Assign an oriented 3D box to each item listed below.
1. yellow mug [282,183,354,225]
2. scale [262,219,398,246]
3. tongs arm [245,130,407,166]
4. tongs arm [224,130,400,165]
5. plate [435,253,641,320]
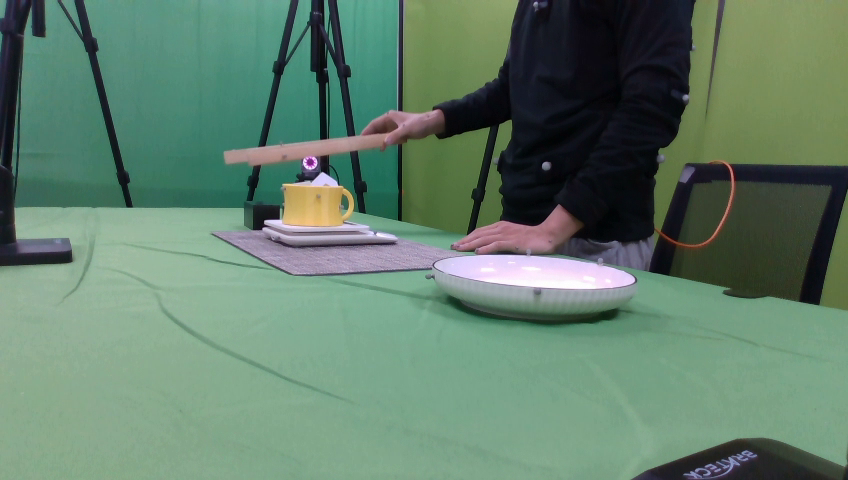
[{"bbox_3d":[-0.172,-0.061,1.009,0.131,0.064,0.099,-2,7,-41],"label":"yellow mug"},{"bbox_3d":[-0.160,-0.016,1.028,0.202,0.031,0.148,-1,9,-32],"label":"scale"},{"bbox_3d":[-0.177,-0.187,1.208,0.389,0.028,0.028,-17,11,-40],"label":"tongs arm"},{"bbox_3d":[-0.218,-0.196,1.269,0.387,0.026,0.050,-13,12,-29],"label":"tongs arm"},{"bbox_3d":[0.114,0.047,0.626,0.208,0.039,0.207,2,7,0],"label":"plate"}]
